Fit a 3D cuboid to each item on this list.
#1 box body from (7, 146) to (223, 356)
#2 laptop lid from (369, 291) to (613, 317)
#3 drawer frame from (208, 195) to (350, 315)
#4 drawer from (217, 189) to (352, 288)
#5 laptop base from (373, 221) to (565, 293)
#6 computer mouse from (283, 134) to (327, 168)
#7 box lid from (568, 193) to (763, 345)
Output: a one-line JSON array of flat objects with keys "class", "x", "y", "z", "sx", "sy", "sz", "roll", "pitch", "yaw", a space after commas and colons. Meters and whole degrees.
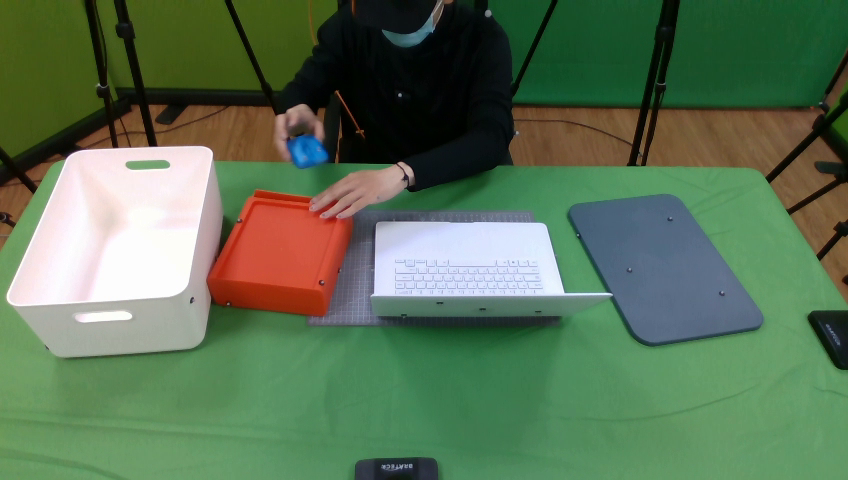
[{"class": "box body", "x": -0.499, "y": 0.012, "z": 1.051, "sx": 0.254, "sy": 0.161, "sz": 0.361, "roll": -3, "pitch": 47, "yaw": -7}, {"class": "laptop lid", "x": 0.092, "y": 0.104, "z": 0.965, "sx": 0.357, "sy": 0.242, "sz": 0.013, "roll": 0, "pitch": 76, "yaw": -5}, {"class": "drawer frame", "x": -0.255, "y": 0.023, "z": 1.112, "sx": 0.202, "sy": 0.083, "sz": 0.212, "roll": 6, "pitch": 47, "yaw": 2}, {"class": "drawer", "x": -0.252, "y": 0.005, "z": 1.128, "sx": 0.194, "sy": 0.073, "sz": 0.210, "roll": 7, "pitch": 46, "yaw": 4}, {"class": "laptop base", "x": 0.080, "y": 0.049, "z": 1.159, "sx": 0.355, "sy": 0.023, "sz": 0.234, "roll": 0, "pitch": 43, "yaw": -4}, {"class": "computer mouse", "x": -0.232, "y": -0.174, "z": 1.171, "sx": 0.063, "sy": 0.041, "sz": 0.116, "roll": -20, "pitch": 32, "yaw": -17}, {"class": "box lid", "x": 0.465, "y": 0.040, "z": 1.203, "sx": 0.264, "sy": 0.015, "sz": 0.369, "roll": -7, "pitch": 47, "yaw": -11}]
